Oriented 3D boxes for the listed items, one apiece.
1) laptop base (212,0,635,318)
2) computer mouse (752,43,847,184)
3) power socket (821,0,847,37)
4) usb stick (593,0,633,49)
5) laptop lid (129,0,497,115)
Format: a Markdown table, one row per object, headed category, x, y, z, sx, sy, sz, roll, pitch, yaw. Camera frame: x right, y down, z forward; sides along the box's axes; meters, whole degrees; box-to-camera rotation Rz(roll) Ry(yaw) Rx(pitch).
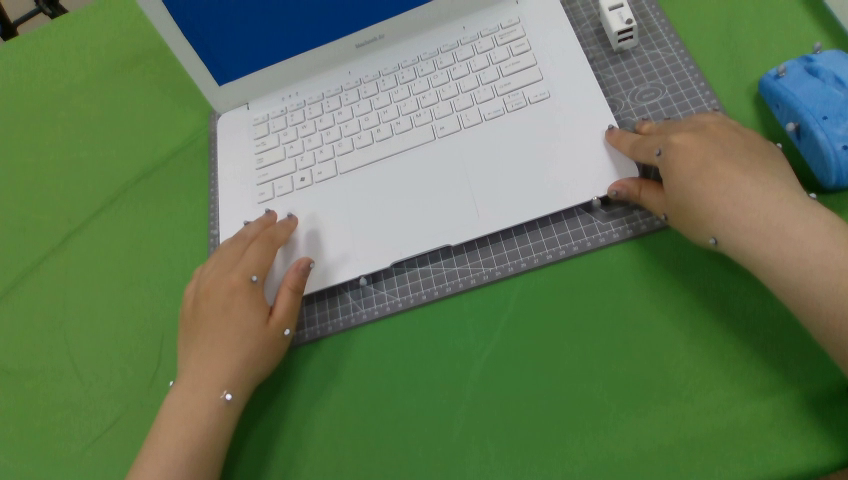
| category | x | y | z | sx | sy | sz | roll | pitch | yaw |
| --- | --- | --- | --- | --- | --- | --- | --- | --- | --- |
| laptop base | -0.026 | -0.084 | 0.536 | 0.354 | 0.023 | 0.233 | -19 | 61 | 9 |
| computer mouse | 0.282 | -0.094 | 0.419 | 0.063 | 0.041 | 0.116 | -19 | 53 | 12 |
| power socket | 0.339 | -0.226 | 0.475 | 0.072 | 0.033 | 0.224 | -16 | 58 | 12 |
| usb stick | 0.161 | -0.196 | 0.523 | 0.021 | 0.027 | 0.058 | -18 | 55 | 14 |
| laptop lid | -0.089 | -0.256 | 0.515 | 0.356 | 0.244 | 0.013 | -20 | 44 | 10 |
